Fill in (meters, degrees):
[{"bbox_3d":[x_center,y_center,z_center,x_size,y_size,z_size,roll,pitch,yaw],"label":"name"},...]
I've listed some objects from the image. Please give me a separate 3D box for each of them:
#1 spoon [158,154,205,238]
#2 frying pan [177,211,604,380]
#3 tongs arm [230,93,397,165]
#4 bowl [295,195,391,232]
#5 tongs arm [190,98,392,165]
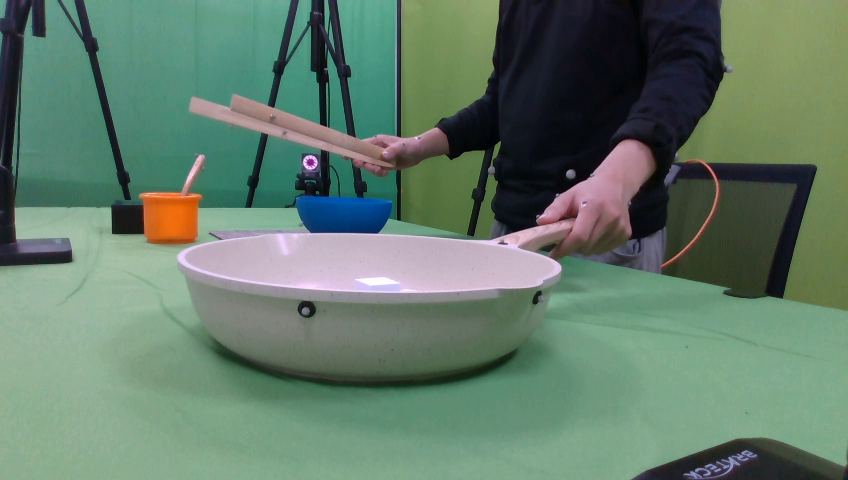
[{"bbox_3d":[-0.392,-0.076,0.998,0.041,0.193,0.021,1,-36,6],"label":"spoon"},{"bbox_3d":[0.034,0.019,0.556,0.490,0.102,0.305,-15,18,-42],"label":"frying pan"},{"bbox_3d":[-0.165,-0.180,1.032,0.028,0.027,0.390,3,-5,37],"label":"tongs arm"},{"bbox_3d":[-0.127,-0.027,0.946,0.151,0.077,0.151,2,7,0],"label":"bowl"},{"bbox_3d":[-0.219,-0.189,1.087,0.387,0.026,0.050,11,-3,-41],"label":"tongs arm"}]
